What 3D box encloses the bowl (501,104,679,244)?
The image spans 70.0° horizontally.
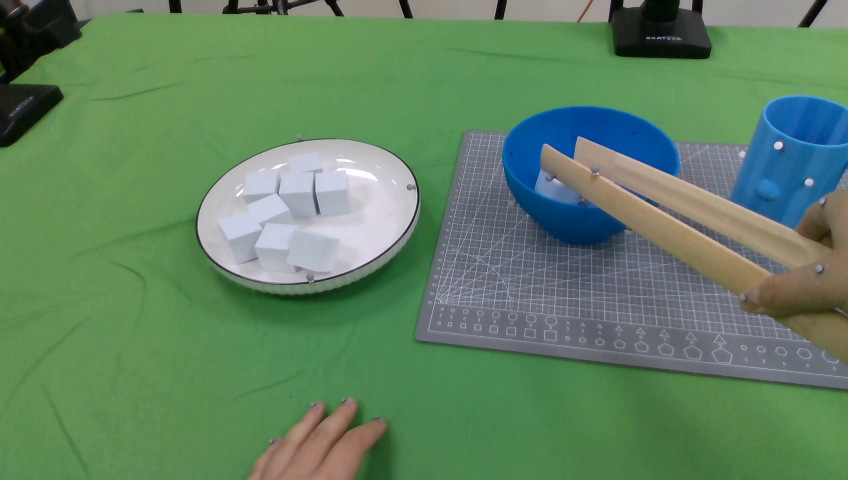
[{"bbox_3d":[0.144,-0.050,0.552,0.151,0.077,0.150,-2,44,2],"label":"bowl"}]

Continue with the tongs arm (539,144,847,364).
[{"bbox_3d":[0.195,0.011,0.376,0.051,0.027,0.380,-10,31,-21],"label":"tongs arm"}]

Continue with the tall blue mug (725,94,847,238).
[{"bbox_3d":[0.330,-0.056,0.521,0.106,0.109,0.077,14,46,18],"label":"tall blue mug"}]

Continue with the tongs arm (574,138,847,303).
[{"bbox_3d":[0.218,0.005,0.387,0.028,0.028,0.383,-9,30,-26],"label":"tongs arm"}]

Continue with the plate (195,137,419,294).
[{"bbox_3d":[-0.107,-0.024,0.577,0.209,0.038,0.207,-1,45,2],"label":"plate"}]
